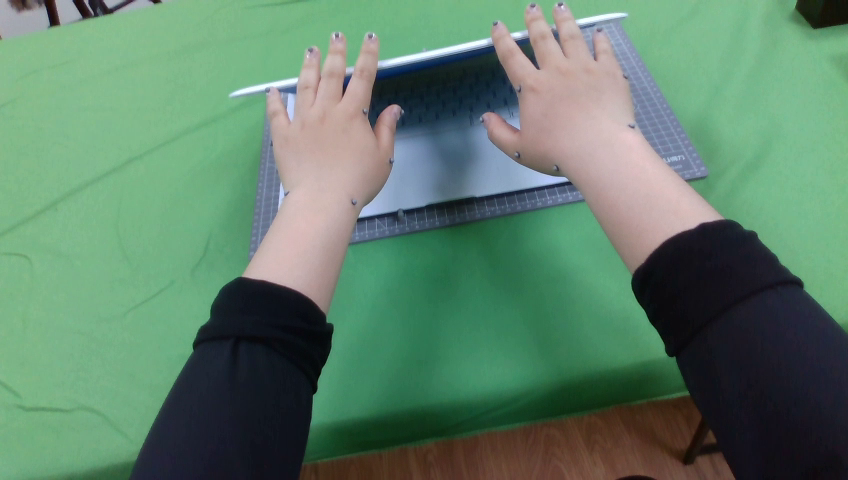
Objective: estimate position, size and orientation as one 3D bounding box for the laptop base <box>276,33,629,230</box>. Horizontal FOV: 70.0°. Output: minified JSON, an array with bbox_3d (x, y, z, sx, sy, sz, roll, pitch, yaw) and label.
[{"bbox_3d":[0.016,-0.124,0.665,0.354,0.023,0.233,-10,52,4],"label":"laptop base"}]

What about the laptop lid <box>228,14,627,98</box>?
[{"bbox_3d":[0.001,-0.189,0.621,0.356,0.013,0.240,-10,16,5],"label":"laptop lid"}]
